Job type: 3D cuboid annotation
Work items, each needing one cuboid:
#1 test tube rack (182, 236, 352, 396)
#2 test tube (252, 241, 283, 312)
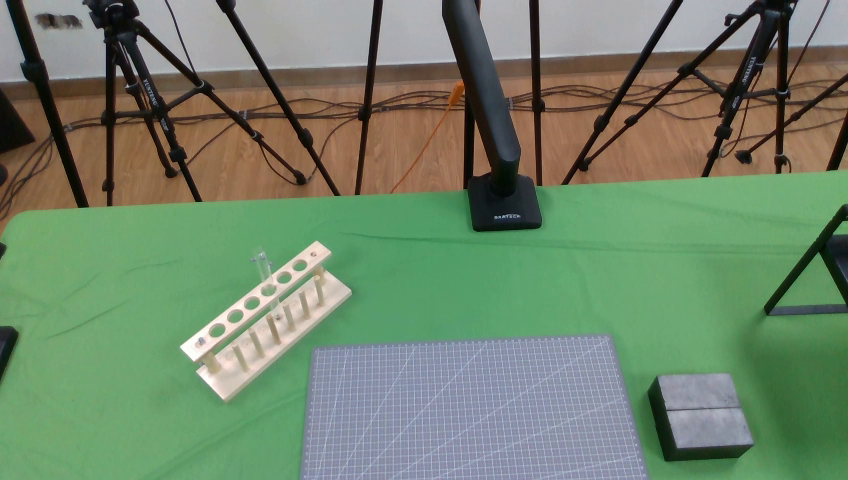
[{"bbox_3d":[-0.220,0.107,0.886,0.066,0.086,0.242,35,60,25],"label":"test tube rack"},{"bbox_3d":[-0.221,0.056,0.864,0.017,0.151,0.017,0,48,0],"label":"test tube"}]
